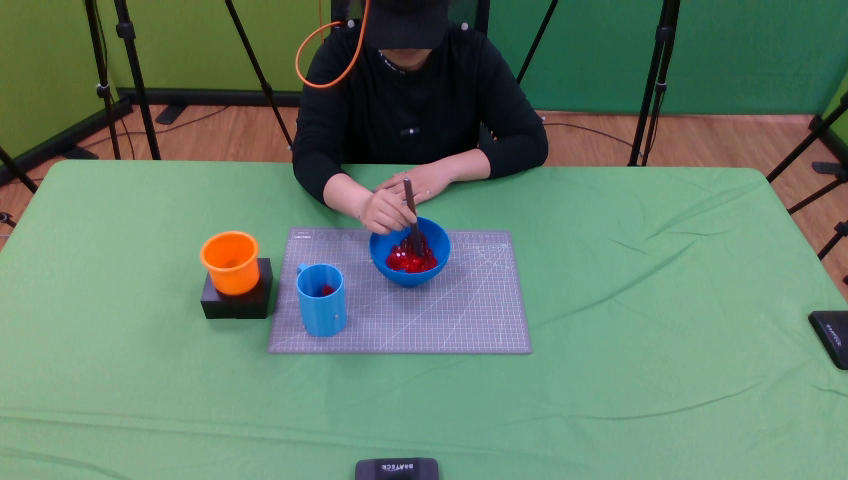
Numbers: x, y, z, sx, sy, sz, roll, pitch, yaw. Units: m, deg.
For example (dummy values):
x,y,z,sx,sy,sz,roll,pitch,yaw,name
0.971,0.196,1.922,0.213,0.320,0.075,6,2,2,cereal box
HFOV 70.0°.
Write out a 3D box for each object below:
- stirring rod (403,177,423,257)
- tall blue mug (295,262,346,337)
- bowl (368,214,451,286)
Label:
x,y,z,sx,sy,sz,roll,pitch,yaw,name
-0.019,-0.036,1.057,0.014,0.177,0.006,9,44,20,stirring rod
-0.187,0.096,1.027,0.107,0.108,0.077,21,49,16,tall blue mug
-0.027,0.031,1.122,0.151,0.077,0.150,2,46,-2,bowl
